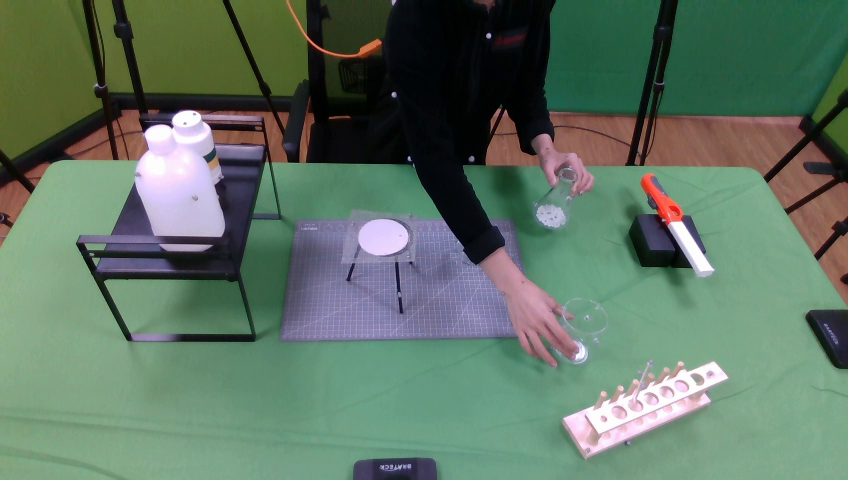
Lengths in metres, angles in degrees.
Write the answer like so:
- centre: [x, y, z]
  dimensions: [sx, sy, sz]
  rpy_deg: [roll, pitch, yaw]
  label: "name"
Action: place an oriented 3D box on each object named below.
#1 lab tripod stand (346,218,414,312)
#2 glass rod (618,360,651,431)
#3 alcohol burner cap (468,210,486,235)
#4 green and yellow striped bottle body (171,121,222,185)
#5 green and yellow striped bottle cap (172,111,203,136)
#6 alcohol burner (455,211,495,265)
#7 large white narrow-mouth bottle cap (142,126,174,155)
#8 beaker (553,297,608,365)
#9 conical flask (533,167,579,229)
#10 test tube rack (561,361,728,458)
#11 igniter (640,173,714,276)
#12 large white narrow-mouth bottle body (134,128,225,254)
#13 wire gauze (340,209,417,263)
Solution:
- centre: [-0.070, 0.037, 1.075]
  dimensions: [0.148, 0.132, 0.147]
  rpy_deg: [1, 47, -1]
  label: "lab tripod stand"
- centre: [0.298, 0.227, 0.865]
  dimensions: [0.008, 0.201, 0.008]
  rpy_deg: [-1, 47, 2]
  label: "glass rod"
- centre: [0.099, -0.034, 1.119]
  dimensions: [0.034, 0.048, 0.033]
  rpy_deg: [1, 53, -1]
  label: "alcohol burner cap"
- centre: [-0.375, -0.149, 0.995]
  dimensions: [0.063, 0.120, 0.063]
  rpy_deg: [2, 46, -2]
  label: "green and yellow striped bottle body"
- centre: [-0.374, -0.185, 0.958]
  dimensions: [0.045, 0.020, 0.045]
  rpy_deg: [4, 46, -4]
  label: "green and yellow striped bottle cap"
- centre: [0.097, -0.010, 1.147]
  dimensions: [0.078, 0.120, 0.077]
  rpy_deg: [0, 48, 0]
  label: "alcohol burner"
- centre: [-0.356, -0.134, 0.812]
  dimensions: [0.038, 0.024, 0.037]
  rpy_deg: [1, 47, -1]
  label: "large white narrow-mouth bottle cap"
- centre: [0.260, 0.154, 1.015]
  dimensions: [0.084, 0.101, 0.073]
  rpy_deg: [-34, 57, -31]
  label: "beaker"
- centre: [0.263, -0.085, 1.178]
  dimensions: [0.075, 0.122, 0.075]
  rpy_deg: [6, 49, -7]
  label: "conical flask"
- centre: [0.341, 0.248, 0.940]
  dimensions: [0.243, 0.085, 0.066]
  rpy_deg: [-15, 49, -18]
  label: "test tube rack"
- centre: [0.495, -0.039, 1.204]
  dimensions: [0.057, 0.025, 0.274]
  rpy_deg: [-2, 47, -12]
  label: "igniter"
- centre: [-0.357, -0.076, 0.875]
  dimensions: [0.102, 0.195, 0.101]
  rpy_deg: [1, 47, -1]
  label: "large white narrow-mouth bottle body"
- centre: [-0.074, -0.007, 1.023]
  dimensions: [0.121, 0.011, 0.124]
  rpy_deg: [3, 46, 0]
  label: "wire gauze"
